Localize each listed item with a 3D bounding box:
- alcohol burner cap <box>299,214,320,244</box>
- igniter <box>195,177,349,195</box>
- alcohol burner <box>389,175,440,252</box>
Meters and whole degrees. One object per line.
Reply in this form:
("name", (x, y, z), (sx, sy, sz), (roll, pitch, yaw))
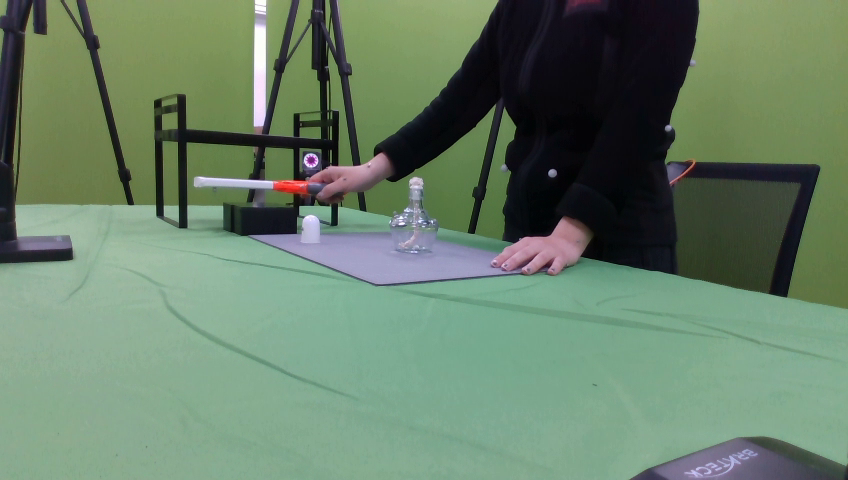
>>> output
("alcohol burner cap", (-0.185, -0.018, 0.979), (0.034, 0.048, 0.034), (4, 8, 0))
("igniter", (-0.270, -0.100, 1.106), (0.278, 0.025, 0.057), (0, 6, -32))
("alcohol burner", (-0.013, -0.041, 0.929), (0.078, 0.119, 0.078), (4, 8, 0))
